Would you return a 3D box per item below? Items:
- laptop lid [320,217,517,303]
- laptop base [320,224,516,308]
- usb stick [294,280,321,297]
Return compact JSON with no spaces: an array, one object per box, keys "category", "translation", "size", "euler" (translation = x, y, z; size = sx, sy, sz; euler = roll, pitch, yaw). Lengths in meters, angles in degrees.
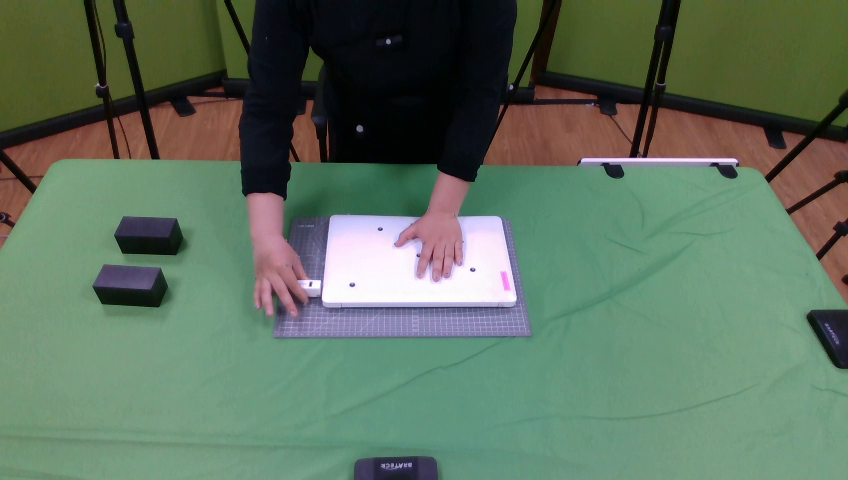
[{"category":"laptop lid","translation":[-0.012,0.032,1.154],"size":[0.357,0.013,0.240],"euler":[2,42,-3]},{"category":"laptop base","translation":[-0.013,0.040,1.159],"size":[0.355,0.023,0.234],"euler":[0,42,-4]},{"category":"usb stick","translation":[-0.201,0.087,1.082],"size":[0.059,0.027,0.021],"euler":[4,50,-2]}]
